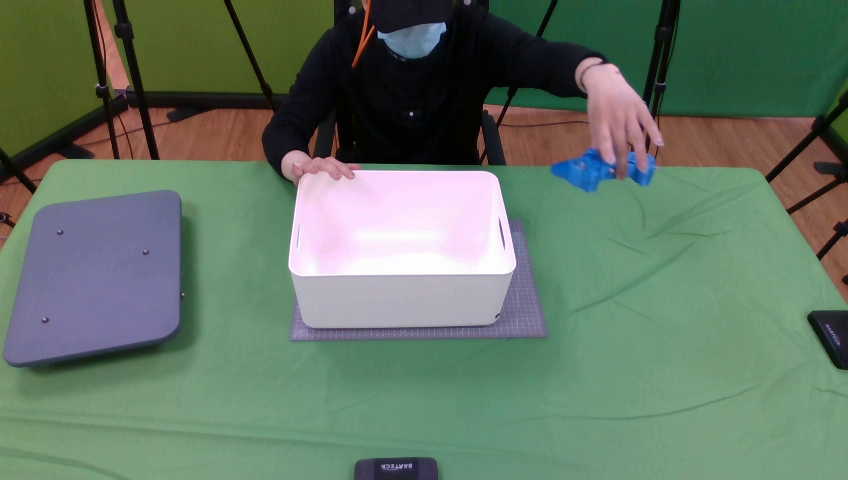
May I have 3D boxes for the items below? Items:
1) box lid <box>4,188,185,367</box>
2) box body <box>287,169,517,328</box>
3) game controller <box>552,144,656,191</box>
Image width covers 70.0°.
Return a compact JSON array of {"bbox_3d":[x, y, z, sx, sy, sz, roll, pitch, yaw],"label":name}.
[{"bbox_3d":[-0.558,0.048,1.060,0.264,0.015,0.369,-10,48,-12],"label":"box lid"},{"bbox_3d":[-0.040,0.015,1.075,0.364,0.161,0.252,-1,47,-4],"label":"box body"},{"bbox_3d":[0.291,-0.121,0.962,0.155,0.052,0.096,-8,32,-12],"label":"game controller"}]
